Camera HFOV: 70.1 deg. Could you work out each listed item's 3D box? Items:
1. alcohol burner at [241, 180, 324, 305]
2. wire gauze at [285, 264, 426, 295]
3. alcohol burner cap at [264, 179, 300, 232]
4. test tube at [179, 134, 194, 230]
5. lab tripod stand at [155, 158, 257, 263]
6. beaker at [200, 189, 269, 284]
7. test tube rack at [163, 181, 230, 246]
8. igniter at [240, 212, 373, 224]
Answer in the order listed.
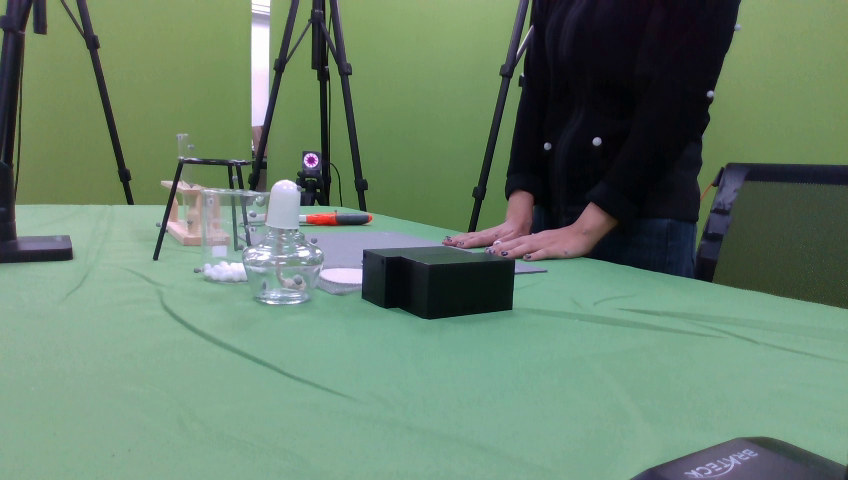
[{"bbox_3d":[-0.136,0.002,0.583,0.078,0.119,0.078,1,8,0],"label":"alcohol burner"},{"bbox_3d":[-0.079,0.039,0.692,0.122,0.011,0.124,-4,11,-37],"label":"wire gauze"},{"bbox_3d":[-0.134,-0.034,0.579,0.034,0.048,0.034,9,10,-1],"label":"alcohol burner cap"},{"bbox_3d":[-0.366,-0.089,0.938,0.017,0.150,0.017,-1,9,1],"label":"test tube"},{"bbox_3d":[-0.275,-0.041,0.797,0.148,0.131,0.148,2,9,0],"label":"lab tripod stand"},{"bbox_3d":[-0.209,-0.006,0.676,0.073,0.100,0.084,7,8,28],"label":"beaker"},{"bbox_3d":[-0.387,-0.050,1.015,0.067,0.085,0.241,-2,9,-30],"label":"test tube rack"},{"bbox_3d":[-0.237,-0.045,1.250,0.278,0.025,0.057,-2,-2,-31],"label":"igniter"}]
